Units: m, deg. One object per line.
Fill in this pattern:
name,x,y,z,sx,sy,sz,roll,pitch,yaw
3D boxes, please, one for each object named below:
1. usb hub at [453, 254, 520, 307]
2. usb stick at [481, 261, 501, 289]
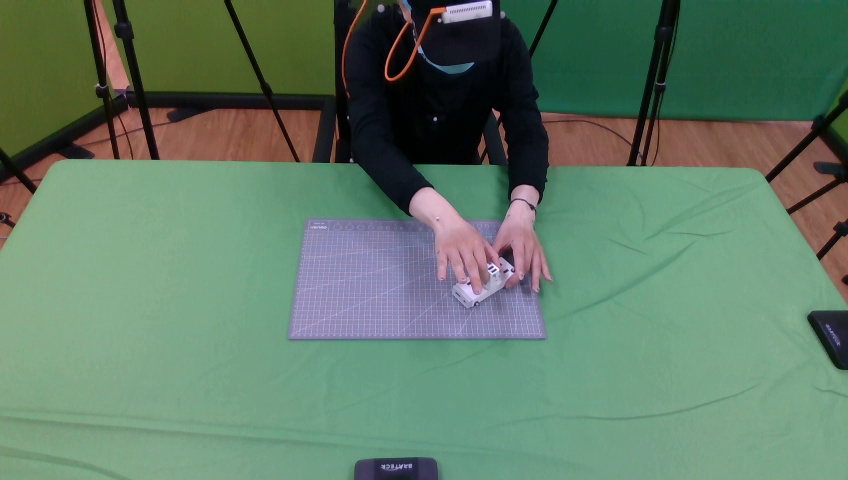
usb hub,0.116,0.074,1.120,0.125,0.025,0.049,-29,60,-27
usb stick,0.120,0.067,1.090,0.021,0.059,0.027,-32,60,-29
